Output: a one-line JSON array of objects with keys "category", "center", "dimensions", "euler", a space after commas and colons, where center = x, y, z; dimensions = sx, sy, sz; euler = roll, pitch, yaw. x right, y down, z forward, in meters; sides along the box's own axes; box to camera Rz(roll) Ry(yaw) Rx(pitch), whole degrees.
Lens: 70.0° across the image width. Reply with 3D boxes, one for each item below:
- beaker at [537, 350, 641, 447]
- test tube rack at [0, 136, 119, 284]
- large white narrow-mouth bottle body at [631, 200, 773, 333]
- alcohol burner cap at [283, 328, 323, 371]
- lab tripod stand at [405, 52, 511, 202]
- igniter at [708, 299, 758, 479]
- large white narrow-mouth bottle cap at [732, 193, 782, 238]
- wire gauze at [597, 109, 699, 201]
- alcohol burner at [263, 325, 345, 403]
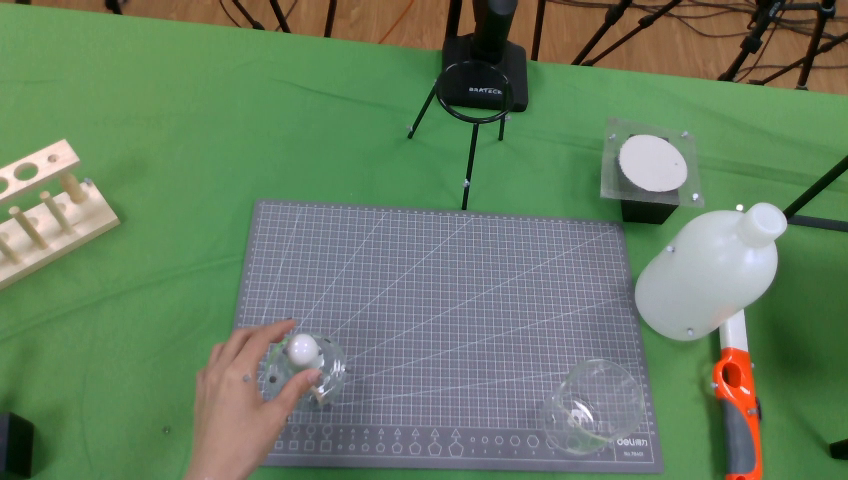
[{"category": "beaker", "center": [0.153, 0.159, 0.591], "dimensions": [0.084, 0.101, 0.073], "euler": [0, 61, -6]}, {"category": "test tube rack", "center": [-0.452, -0.002, 0.611], "dimensions": [0.242, 0.086, 0.066], "euler": [-35, 71, -22]}, {"category": "large white narrow-mouth bottle body", "center": [0.297, 0.020, 0.632], "dimensions": [0.102, 0.196, 0.101], "euler": [3, 61, -5]}, {"category": "alcohol burner cap", "center": [-0.110, 0.097, 0.542], "dimensions": [0.034, 0.048, 0.033], "euler": [1, 66, -2]}, {"category": "lab tripod stand", "center": [0.047, -0.140, 0.721], "dimensions": [0.149, 0.132, 0.147], "euler": [4, 63, -7]}, {"category": "igniter", "center": [0.341, 0.125, 0.677], "dimensions": [0.057, 0.025, 0.274], "euler": [17, 61, -12]}, {"category": "large white narrow-mouth bottle cap", "center": [0.305, -0.023, 0.557], "dimensions": [0.038, 0.024, 0.037], "euler": [3, 61, -5]}, {"category": "wire gauze", "center": [0.274, -0.104, 0.746], "dimensions": [0.121, 0.011, 0.124], "euler": [10, 61, -2]}, {"category": "alcohol burner", "center": [-0.114, 0.112, 0.574], "dimensions": [0.078, 0.120, 0.077], "euler": [4, 60, -7]}]
